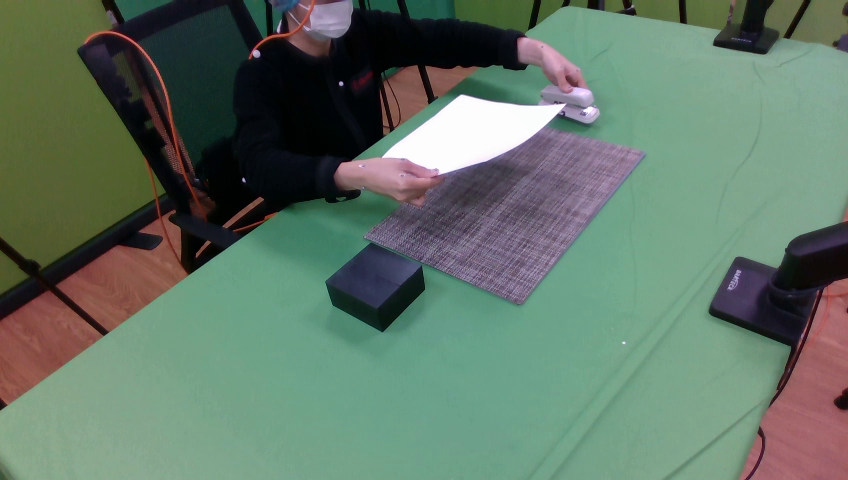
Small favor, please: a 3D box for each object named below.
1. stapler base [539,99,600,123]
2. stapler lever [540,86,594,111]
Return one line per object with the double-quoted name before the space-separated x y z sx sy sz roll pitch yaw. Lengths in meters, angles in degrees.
"stapler base" 0.291 -0.272 1.217 0.041 0.024 0.129 -43 49 -20
"stapler lever" 0.283 -0.288 1.200 0.117 0.040 0.027 31 64 37
